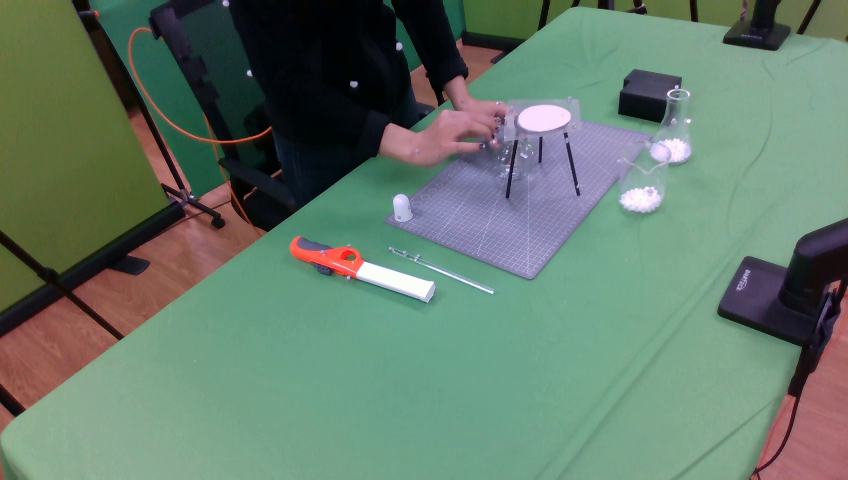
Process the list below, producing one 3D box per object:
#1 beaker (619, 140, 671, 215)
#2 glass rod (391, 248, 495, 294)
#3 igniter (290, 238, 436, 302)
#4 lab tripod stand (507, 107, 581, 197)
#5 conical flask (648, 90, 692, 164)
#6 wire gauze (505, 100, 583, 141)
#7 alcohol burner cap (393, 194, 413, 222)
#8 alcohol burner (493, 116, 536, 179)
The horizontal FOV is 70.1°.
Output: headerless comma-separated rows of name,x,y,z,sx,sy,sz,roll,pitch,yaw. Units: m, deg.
beaker,0.352,-0.096,0.971,0.074,0.101,0.084,1,42,13
glass rod,0.026,0.046,0.936,0.198,0.008,0.008,22,50,32
igniter,-0.106,0.043,0.949,0.274,0.025,0.057,16,57,27
lab tripod stand,0.201,-0.151,1.033,0.148,0.132,0.147,-7,39,6
conical flask,0.437,-0.199,1.057,0.075,0.122,0.075,-5,40,5
wire gauze,0.194,-0.200,0.987,0.121,0.011,0.124,-1,39,11
alcohol burner cap,-0.038,-0.057,1.038,0.034,0.048,0.033,-5,41,5
alcohol burner,0.161,-0.169,1.078,0.078,0.119,0.077,-5,42,5
